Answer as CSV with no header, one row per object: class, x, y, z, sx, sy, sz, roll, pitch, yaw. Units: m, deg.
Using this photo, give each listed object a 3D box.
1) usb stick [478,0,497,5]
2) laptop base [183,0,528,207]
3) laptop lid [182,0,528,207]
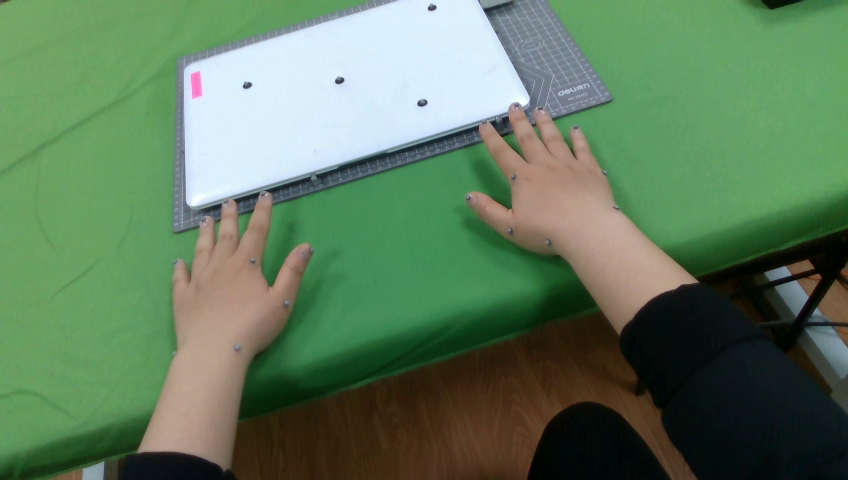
usb stick,0.073,-0.292,0.704,0.059,0.027,0.021,-18,52,2
laptop base,-0.090,-0.167,0.663,0.354,0.023,0.233,-17,56,-1
laptop lid,-0.091,-0.172,0.652,0.357,0.013,0.239,-16,55,0
